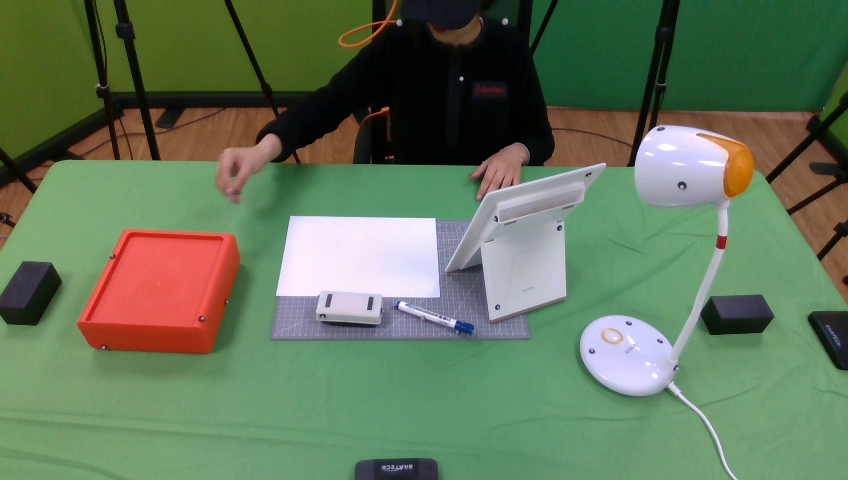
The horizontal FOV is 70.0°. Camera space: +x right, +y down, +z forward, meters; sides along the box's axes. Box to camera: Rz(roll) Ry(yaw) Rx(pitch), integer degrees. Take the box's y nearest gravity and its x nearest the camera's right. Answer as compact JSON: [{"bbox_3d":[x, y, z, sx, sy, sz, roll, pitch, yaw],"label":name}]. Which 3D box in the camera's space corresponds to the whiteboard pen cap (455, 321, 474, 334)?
[{"bbox_3d":[0.069,0.151,1.046,0.033,0.018,0.018,14,47,16],"label":"whiteboard pen cap"}]

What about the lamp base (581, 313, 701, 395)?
[{"bbox_3d":[0.361,0.144,0.972,0.178,0.181,0.160,34,53,23],"label":"lamp base"}]

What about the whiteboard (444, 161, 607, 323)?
[{"bbox_3d":[0.186,0.025,1.029,0.217,0.306,0.143,-14,68,-18],"label":"whiteboard"}]

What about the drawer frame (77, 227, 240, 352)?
[{"bbox_3d":[-0.444,0.081,1.044,0.202,0.083,0.212,3,47,-3],"label":"drawer frame"}]

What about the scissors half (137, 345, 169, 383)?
[{"bbox_3d":[-0.479,0.171,0.997,0.175,0.040,0.013,48,47,-3],"label":"scissors half"}]

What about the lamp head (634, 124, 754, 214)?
[{"bbox_3d":[0.351,-0.089,0.775,0.112,0.113,0.122,-30,30,-28],"label":"lamp head"}]

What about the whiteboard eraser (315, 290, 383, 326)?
[{"bbox_3d":[-0.130,0.120,1.054,0.113,0.042,0.055,4,47,0],"label":"whiteboard eraser"}]

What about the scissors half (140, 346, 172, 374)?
[{"bbox_3d":[-0.475,0.164,0.987,0.175,0.040,0.013,36,53,9],"label":"scissors half"}]

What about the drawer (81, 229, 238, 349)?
[{"bbox_3d":[-0.445,0.080,1.046,0.194,0.073,0.210,3,47,-2],"label":"drawer"}]

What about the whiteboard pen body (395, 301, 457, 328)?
[{"bbox_3d":[0.015,0.134,1.064,0.140,0.017,0.017,17,47,16],"label":"whiteboard pen body"}]
